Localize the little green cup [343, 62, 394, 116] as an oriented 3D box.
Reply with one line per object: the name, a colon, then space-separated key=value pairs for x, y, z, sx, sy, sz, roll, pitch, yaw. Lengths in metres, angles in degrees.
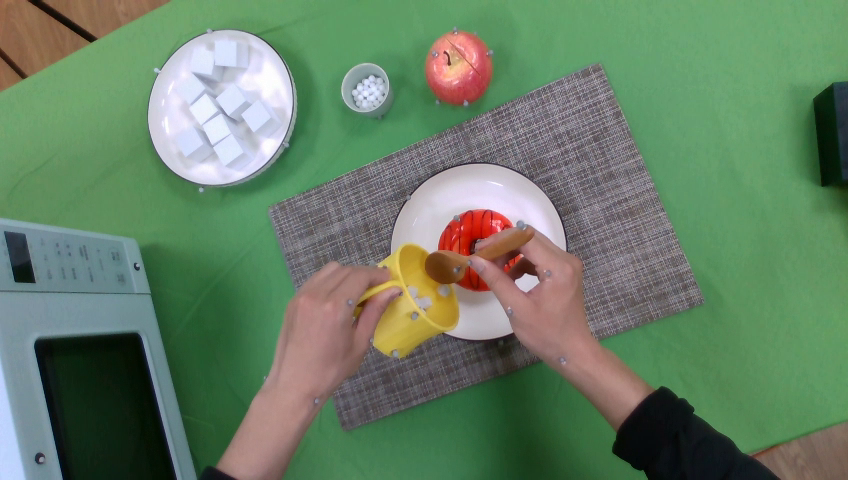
little green cup: x=-0.067 y=-0.186 z=0.756 sx=0.061 sy=0.039 sz=0.061 roll=-1 pitch=85 yaw=13

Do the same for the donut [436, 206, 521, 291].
donut: x=0.063 y=0.010 z=0.698 sx=0.099 sy=0.048 sz=0.099 roll=-1 pitch=88 yaw=13

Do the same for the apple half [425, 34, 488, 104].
apple half: x=0.032 y=-0.194 z=0.718 sx=0.053 sy=0.075 sz=0.080 roll=-43 pitch=82 yaw=10

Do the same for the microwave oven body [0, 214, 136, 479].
microwave oven body: x=-0.491 y=0.235 z=0.697 sx=0.326 sy=0.261 sz=0.440 roll=-19 pitch=82 yaw=10

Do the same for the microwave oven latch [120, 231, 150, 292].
microwave oven latch: x=-0.384 y=0.029 z=0.789 sx=0.030 sy=0.029 sz=0.079 roll=-18 pitch=83 yaw=10

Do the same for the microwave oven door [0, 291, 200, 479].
microwave oven door: x=-0.344 y=0.228 z=0.660 sx=0.039 sy=0.245 sz=0.354 roll=-19 pitch=81 yaw=10

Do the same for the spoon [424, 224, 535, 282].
spoon: x=0.046 y=0.014 z=0.548 sx=0.042 sy=0.193 sz=0.021 roll=45 pitch=69 yaw=-8

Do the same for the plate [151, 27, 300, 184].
plate: x=-0.256 y=-0.173 z=0.796 sx=0.207 sy=0.039 sz=0.207 roll=-1 pitch=85 yaw=12

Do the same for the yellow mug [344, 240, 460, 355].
yellow mug: x=-0.027 y=0.057 z=0.597 sx=0.064 sy=0.132 sz=0.099 roll=-32 pitch=69 yaw=25

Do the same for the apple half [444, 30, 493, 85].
apple half: x=0.060 y=-0.220 z=0.713 sx=0.033 sy=0.081 sz=0.081 roll=-43 pitch=78 yaw=10

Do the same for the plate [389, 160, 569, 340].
plate: x=0.063 y=0.011 z=0.709 sx=0.208 sy=0.038 sz=0.208 roll=-1 pitch=85 yaw=12
